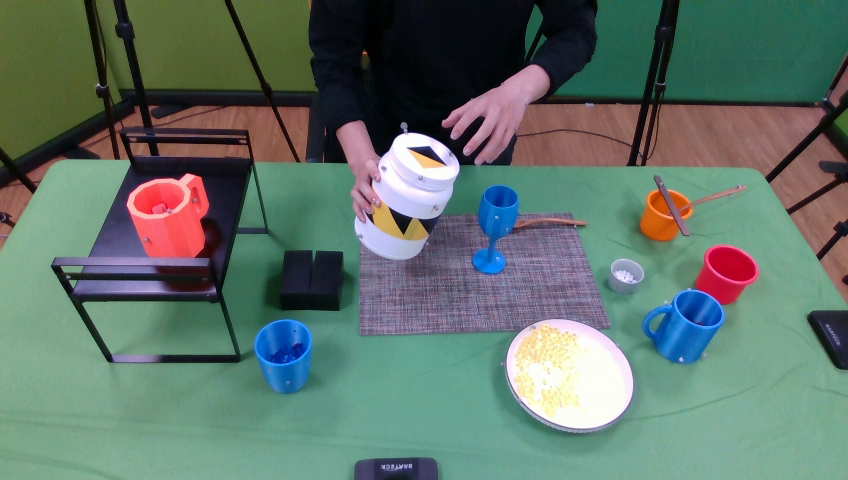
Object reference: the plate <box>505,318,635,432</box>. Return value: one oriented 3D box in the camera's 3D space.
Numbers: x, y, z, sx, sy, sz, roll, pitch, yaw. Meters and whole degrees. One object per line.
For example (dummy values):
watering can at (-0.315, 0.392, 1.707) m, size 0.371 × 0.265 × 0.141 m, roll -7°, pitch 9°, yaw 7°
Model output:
plate at (0.235, 0.221, 0.991) m, size 0.209 × 0.038 × 0.208 m, roll 2°, pitch 45°, yaw -2°

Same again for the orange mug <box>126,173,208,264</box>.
orange mug at (-0.371, -0.040, 0.902) m, size 0.083 × 0.101 × 0.126 m, roll 18°, pitch 52°, yaw 13°

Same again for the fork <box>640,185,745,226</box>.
fork at (0.534, -0.069, 1.215) m, size 0.207 × 0.019 × 0.028 m, roll -26°, pitch 27°, yaw 33°

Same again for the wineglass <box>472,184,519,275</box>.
wineglass at (0.129, -0.018, 1.113) m, size 0.074 × 0.173 × 0.073 m, roll 2°, pitch 46°, yaw -2°

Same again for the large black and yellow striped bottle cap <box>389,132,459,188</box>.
large black and yellow striped bottle cap at (0.001, -0.128, 0.959) m, size 0.115 × 0.019 × 0.114 m, roll 16°, pitch 42°, yaw -15°

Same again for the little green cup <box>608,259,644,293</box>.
little green cup at (0.379, 0.070, 1.147) m, size 0.061 × 0.039 × 0.061 m, roll 3°, pitch 45°, yaw -2°

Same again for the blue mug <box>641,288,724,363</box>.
blue mug at (0.432, 0.144, 1.033) m, size 0.116 × 0.106 × 0.082 m, roll 8°, pitch 46°, yaw 5°

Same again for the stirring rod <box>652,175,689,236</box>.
stirring rod at (0.491, -0.072, 1.211) m, size 0.014 × 0.006 × 0.175 m, roll -1°, pitch 47°, yaw -6°

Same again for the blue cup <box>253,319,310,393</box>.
blue cup at (-0.217, 0.187, 0.943) m, size 0.093 × 0.101 × 0.092 m, roll 4°, pitch 45°, yaw -3°

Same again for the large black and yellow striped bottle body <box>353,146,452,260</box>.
large black and yellow striped bottle body at (-0.032, -0.071, 1.011) m, size 0.131 × 0.184 × 0.130 m, roll 17°, pitch 40°, yaw -15°

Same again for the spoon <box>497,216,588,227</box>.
spoon at (0.245, -0.039, 1.247) m, size 0.194 × 0.022 × 0.041 m, roll -1°, pitch 25°, yaw -6°
